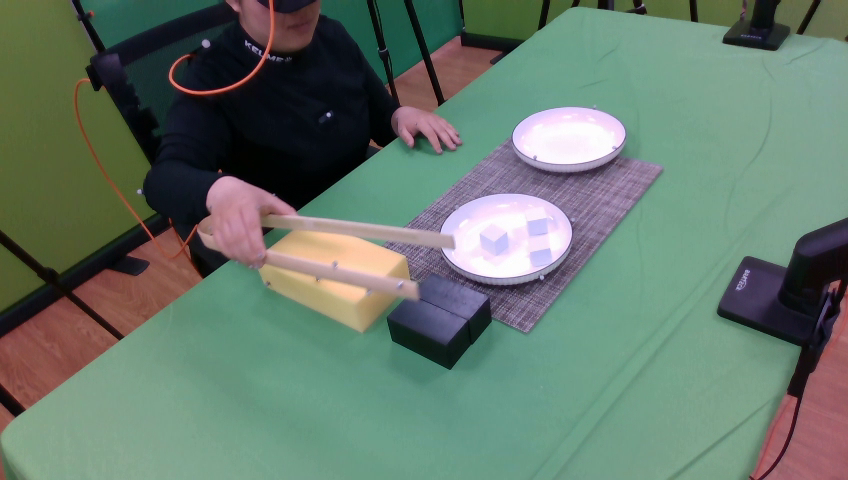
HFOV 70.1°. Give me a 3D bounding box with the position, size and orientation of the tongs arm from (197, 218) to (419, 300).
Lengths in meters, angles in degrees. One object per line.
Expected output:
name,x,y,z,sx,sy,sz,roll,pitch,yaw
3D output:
tongs arm,-0.164,0.019,0.791,0.382,0.026,0.051,9,43,27

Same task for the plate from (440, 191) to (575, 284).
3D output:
plate,0.129,-0.001,0.942,0.207,0.039,0.206,-5,40,5

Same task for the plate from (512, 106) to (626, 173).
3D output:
plate,0.269,-0.185,1.132,0.209,0.038,0.208,-5,40,5

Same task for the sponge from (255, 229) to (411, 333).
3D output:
sponge,-0.139,0.048,0.922,0.205,0.061,0.118,19,47,30

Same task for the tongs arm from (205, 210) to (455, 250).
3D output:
tongs arm,-0.139,-0.014,0.827,0.385,0.028,0.028,6,45,23
